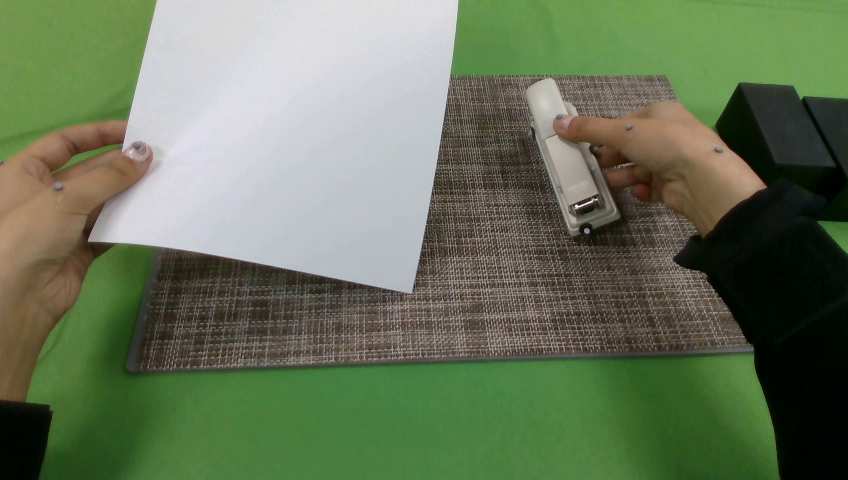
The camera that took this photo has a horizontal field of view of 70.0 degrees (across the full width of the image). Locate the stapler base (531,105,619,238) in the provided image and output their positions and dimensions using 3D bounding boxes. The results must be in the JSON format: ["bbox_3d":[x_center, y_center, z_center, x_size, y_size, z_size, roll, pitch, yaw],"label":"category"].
[{"bbox_3d":[0.117,-0.064,0.494,0.041,0.025,0.129,-25,55,20],"label":"stapler base"}]

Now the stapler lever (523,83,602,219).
[{"bbox_3d":[0.106,-0.074,0.474,0.027,0.040,0.117,-25,55,20],"label":"stapler lever"}]
